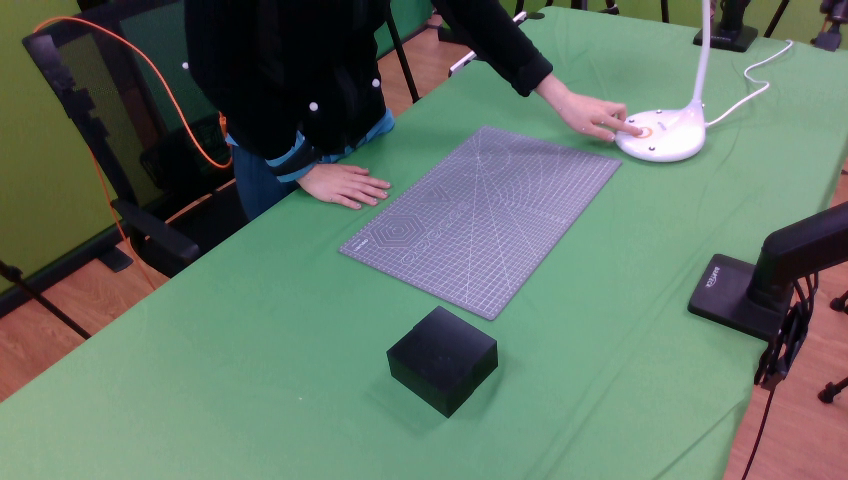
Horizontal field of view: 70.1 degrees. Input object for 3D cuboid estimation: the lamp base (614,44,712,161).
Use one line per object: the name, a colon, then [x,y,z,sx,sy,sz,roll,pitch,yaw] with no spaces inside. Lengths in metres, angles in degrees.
lamp base: [0.441,-0.257,1.080,0.180,0.181,0.159,-15,41,-12]
